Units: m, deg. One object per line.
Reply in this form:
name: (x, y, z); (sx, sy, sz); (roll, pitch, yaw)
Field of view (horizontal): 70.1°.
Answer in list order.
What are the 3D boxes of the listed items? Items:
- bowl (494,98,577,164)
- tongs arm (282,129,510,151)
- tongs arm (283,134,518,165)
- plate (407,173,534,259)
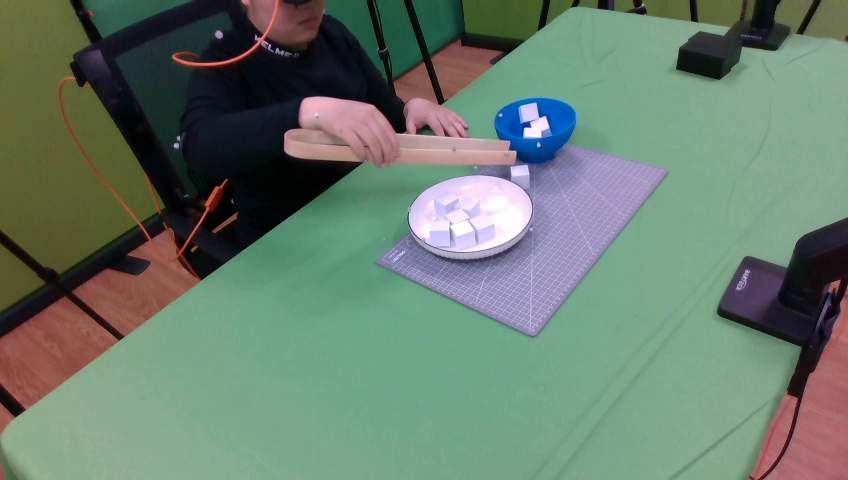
bowl: (0.207, -0.196, 1.128); (0.151, 0.077, 0.150); (-5, 40, 5)
tongs arm: (-0.036, -0.159, 1.003); (0.390, 0.028, 0.028); (0, 37, -18)
tongs arm: (-0.030, -0.145, 0.982); (0.387, 0.026, 0.050); (-2, 34, -21)
plate: (0.076, -0.037, 0.997); (0.207, 0.039, 0.206); (-5, 40, 5)
